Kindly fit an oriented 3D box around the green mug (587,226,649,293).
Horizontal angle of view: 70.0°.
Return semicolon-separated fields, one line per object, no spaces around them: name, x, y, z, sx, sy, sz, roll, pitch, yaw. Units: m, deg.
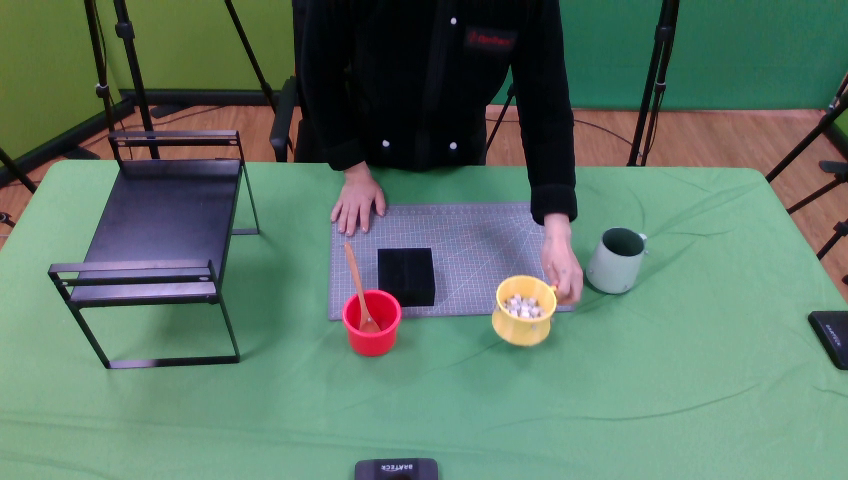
green mug;0.372;0.031;1.136;0.125;0.105;0.092;-27;53;-26

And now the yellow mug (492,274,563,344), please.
yellow mug;0.180;0.108;1.013;0.131;0.064;0.099;-21;48;-24

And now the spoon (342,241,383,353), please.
spoon;-0.106;0.094;1.014;0.042;0.021;0.193;-14;93;-14
